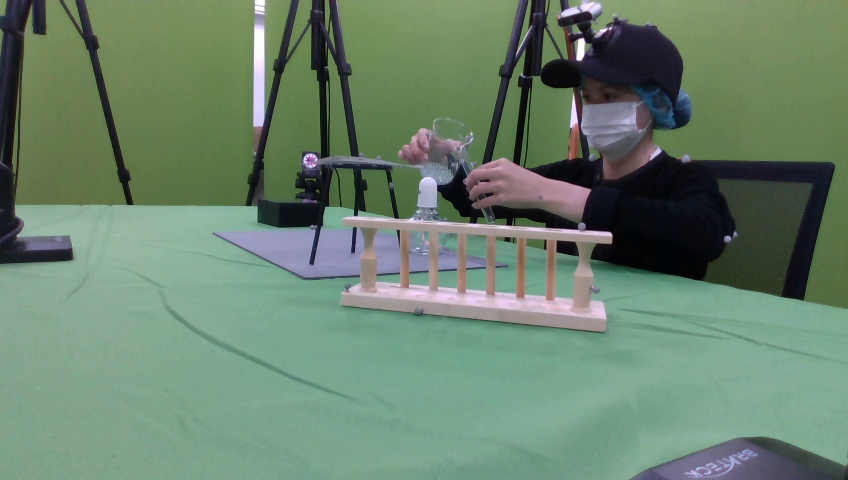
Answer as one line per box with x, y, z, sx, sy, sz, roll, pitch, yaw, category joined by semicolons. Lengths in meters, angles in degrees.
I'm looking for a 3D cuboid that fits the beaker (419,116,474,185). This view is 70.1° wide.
0.037;-0.152;1.062;0.074;0.100;0.083;3;46;-21;beaker

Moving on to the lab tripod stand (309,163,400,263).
-0.091;-0.037;0.813;0.148;0.131;0.148;1;6;0;lab tripod stand

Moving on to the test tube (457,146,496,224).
0.084;-0.090;0.973;0.017;0.149;0.017;-17;-25;-8;test tube

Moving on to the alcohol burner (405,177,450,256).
0.004;-0.036;0.917;0.078;0.119;0.078;4;6;0;alcohol burner

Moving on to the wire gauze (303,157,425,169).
-0.082;-0.102;0.799;0.126;0.011;0.121;-1;7;-30;wire gauze

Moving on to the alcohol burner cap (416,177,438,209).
0.005;-0.072;0.914;0.034;0.048;0.034;3;9;0;alcohol burner cap

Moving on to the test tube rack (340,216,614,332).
0.048;0.026;0.568;0.242;0.085;0.067;4;7;13;test tube rack
